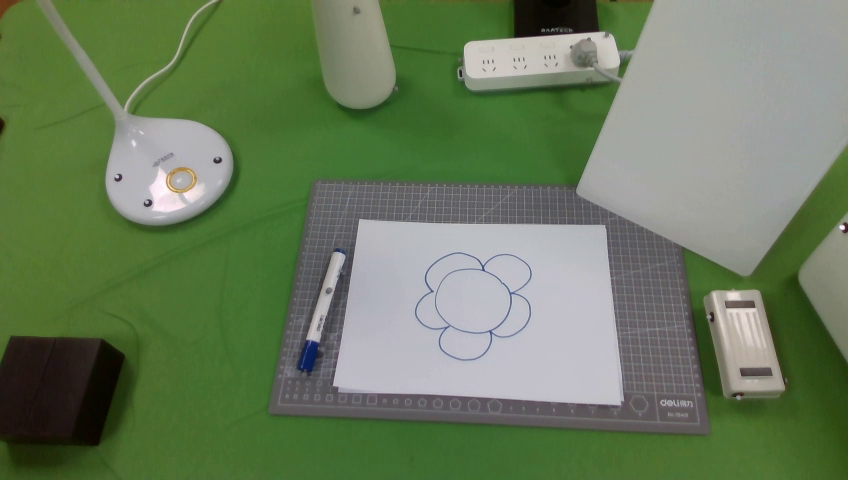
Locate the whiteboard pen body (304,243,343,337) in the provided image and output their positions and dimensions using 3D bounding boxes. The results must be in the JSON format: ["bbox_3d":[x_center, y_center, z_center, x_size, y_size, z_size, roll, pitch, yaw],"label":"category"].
[{"bbox_3d":[-0.115,0.067,0.678,0.017,0.017,0.140,9,64,8],"label":"whiteboard pen body"}]

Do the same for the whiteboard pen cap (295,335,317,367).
[{"bbox_3d":[-0.127,0.119,0.654,0.018,0.018,0.033,9,64,8],"label":"whiteboard pen cap"}]

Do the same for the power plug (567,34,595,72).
[{"bbox_3d":[0.206,-0.240,0.802,0.035,0.053,0.072,6,68,6],"label":"power plug"}]

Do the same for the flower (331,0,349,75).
[{"bbox_3d":[-0.081,-0.297,0.685,0.044,0.362,0.038,-37,83,-25],"label":"flower"}]

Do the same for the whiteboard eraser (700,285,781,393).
[{"bbox_3d":[0.327,0.102,0.631,0.055,0.042,0.111,0,61,1],"label":"whiteboard eraser"}]

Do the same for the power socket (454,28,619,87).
[{"bbox_3d":[0.155,-0.252,0.837,0.227,0.033,0.071,-3,62,1],"label":"power socket"}]

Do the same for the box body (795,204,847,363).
[{"bbox_3d":[0.560,0.106,0.549,0.254,0.162,0.360,-15,62,-5],"label":"box body"}]

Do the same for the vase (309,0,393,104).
[{"bbox_3d":[-0.096,-0.266,0.762,0.098,0.201,0.097,-2,61,4],"label":"vase"}]

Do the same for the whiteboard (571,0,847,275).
[{"bbox_3d":[0.331,-0.153,0.655,0.216,0.308,0.143,31,47,19],"label":"whiteboard"}]

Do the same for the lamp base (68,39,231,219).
[{"bbox_3d":[-0.343,-0.139,0.716,0.178,0.182,0.160,32,67,22],"label":"lamp base"}]
